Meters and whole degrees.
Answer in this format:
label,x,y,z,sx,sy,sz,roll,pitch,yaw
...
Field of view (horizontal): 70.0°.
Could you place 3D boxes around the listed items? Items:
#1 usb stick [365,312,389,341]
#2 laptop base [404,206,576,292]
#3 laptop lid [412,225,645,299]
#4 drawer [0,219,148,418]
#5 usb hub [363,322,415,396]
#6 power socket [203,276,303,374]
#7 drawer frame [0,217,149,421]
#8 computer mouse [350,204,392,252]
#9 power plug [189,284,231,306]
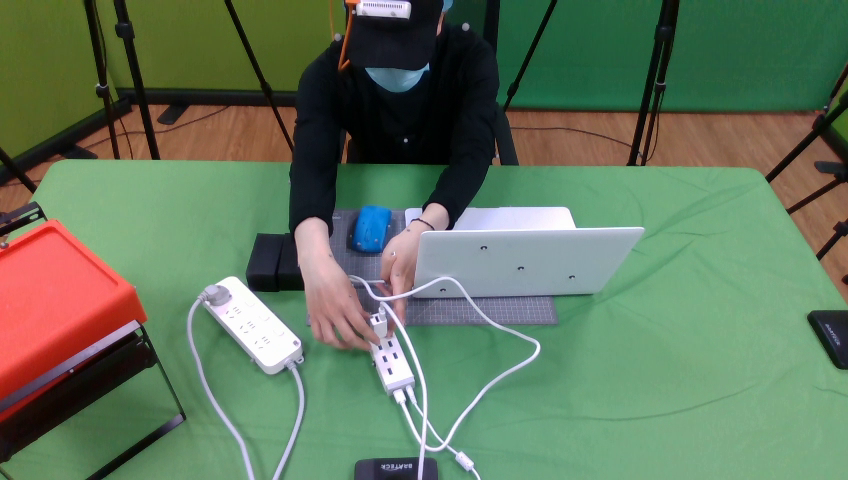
label,x,y,z,sx,sy,sz,roll,pitch,yaw
usb stick,-0.080,0.148,1.006,0.027,0.059,0.021,-8,41,-32
laptop base,0.143,0.018,1.196,0.355,0.023,0.234,-1,43,-6
laptop lid,0.161,0.042,1.012,0.357,0.242,0.013,0,59,-7
drawer,-0.509,0.093,0.783,0.193,0.073,0.211,32,53,24
usb hub,-0.059,0.195,1.006,0.049,0.025,0.124,-14,49,-17
power socket,-0.296,0.141,1.034,0.072,0.033,0.225,-35,58,-30
drawer frame,-0.510,0.093,0.780,0.201,0.083,0.213,31,52,23
computer mouse,-0.104,-0.027,1.202,0.063,0.041,0.116,11,51,3
power plug,-0.367,0.100,1.037,0.072,0.053,0.035,-24,53,-26
